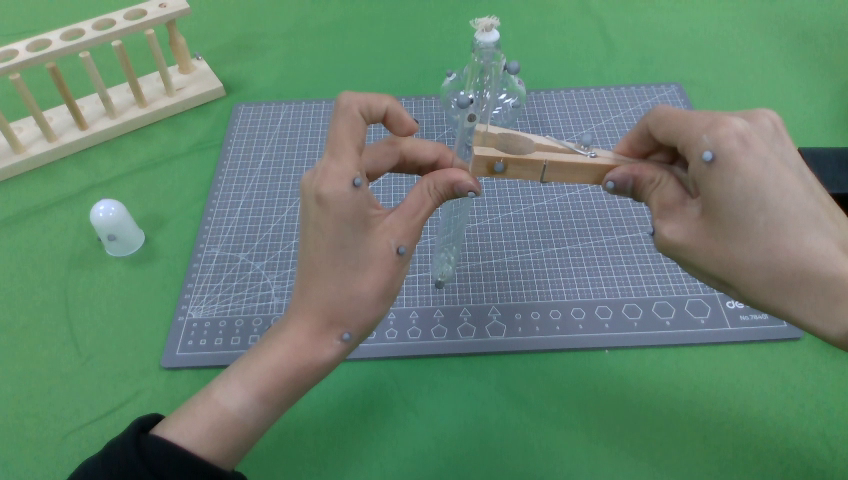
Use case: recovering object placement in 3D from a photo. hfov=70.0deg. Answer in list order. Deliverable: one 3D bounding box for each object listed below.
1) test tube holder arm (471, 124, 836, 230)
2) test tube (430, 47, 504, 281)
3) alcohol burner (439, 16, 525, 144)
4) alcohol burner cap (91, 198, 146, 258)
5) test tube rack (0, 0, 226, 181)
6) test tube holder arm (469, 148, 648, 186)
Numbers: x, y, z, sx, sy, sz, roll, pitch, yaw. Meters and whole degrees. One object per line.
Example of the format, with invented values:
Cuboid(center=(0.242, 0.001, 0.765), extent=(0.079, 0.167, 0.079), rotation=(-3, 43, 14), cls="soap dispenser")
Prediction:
Cuboid(center=(0.111, -0.032, 0.304), extent=(0.178, 0.015, 0.013), rotation=(13, 45, 6), cls="test tube holder arm")
Cuboid(center=(0.019, -0.031, 0.321), extent=(0.017, 0.151, 0.017), rotation=(5, 44, -5), cls="test tube")
Cuboid(center=(0.052, -0.143, 0.532), extent=(0.078, 0.120, 0.077), rotation=(0, 51, 1), cls="alcohol burner")
Cuboid(center=(-0.248, -0.012, 0.487), extent=(0.034, 0.048, 0.033), rotation=(-1, 50, 1), cls="alcohol burner cap")
Cuboid(center=(-0.324, -0.145, 0.572), extent=(0.242, 0.086, 0.066), rotation=(-27, 54, -19), cls="test tube rack")
Cuboid(center=(0.067, -0.036, 0.302), extent=(0.088, 0.015, 0.010), rotation=(2, 43, -5), cls="test tube holder arm")
